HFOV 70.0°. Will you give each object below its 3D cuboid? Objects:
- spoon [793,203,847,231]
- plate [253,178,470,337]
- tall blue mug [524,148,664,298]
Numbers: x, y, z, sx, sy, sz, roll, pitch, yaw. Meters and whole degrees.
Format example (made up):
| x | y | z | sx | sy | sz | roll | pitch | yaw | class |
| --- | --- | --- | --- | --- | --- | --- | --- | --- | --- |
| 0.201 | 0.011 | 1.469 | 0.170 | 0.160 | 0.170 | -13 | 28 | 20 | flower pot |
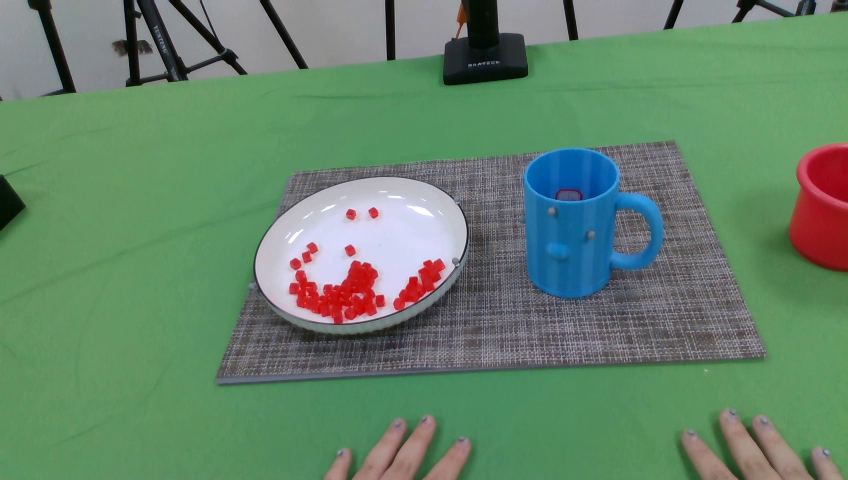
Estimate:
| x | y | z | sx | sy | sz | roll | pitch | yaw | class |
| --- | --- | --- | --- | --- | --- | --- | --- | --- | --- |
| 0.393 | -0.040 | 0.480 | 0.041 | 0.193 | 0.021 | -39 | 94 | -33 | spoon |
| -0.057 | 0.016 | 0.586 | 0.207 | 0.039 | 0.205 | -6 | 42 | 5 | plate |
| 0.143 | -0.015 | 0.524 | 0.107 | 0.109 | 0.077 | -8 | 41 | 3 | tall blue mug |
